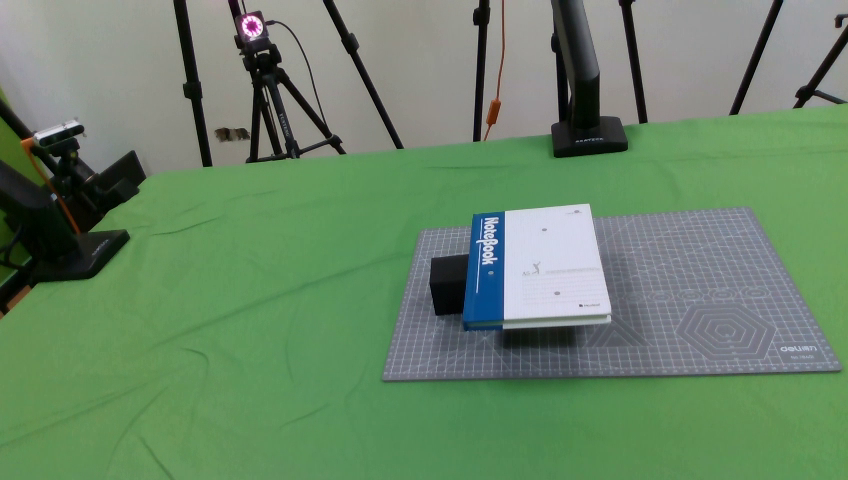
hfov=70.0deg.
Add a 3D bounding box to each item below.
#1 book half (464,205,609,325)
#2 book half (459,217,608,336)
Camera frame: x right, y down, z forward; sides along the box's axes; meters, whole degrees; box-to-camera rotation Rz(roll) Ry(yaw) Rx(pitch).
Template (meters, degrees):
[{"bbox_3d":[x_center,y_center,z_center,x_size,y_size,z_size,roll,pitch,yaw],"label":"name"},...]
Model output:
[{"bbox_3d":[0.122,0.022,0.682,0.143,0.007,0.208,-5,33,11],"label":"book half"},{"bbox_3d":[0.119,0.028,0.687,0.148,0.016,0.208,-5,33,11],"label":"book half"}]
